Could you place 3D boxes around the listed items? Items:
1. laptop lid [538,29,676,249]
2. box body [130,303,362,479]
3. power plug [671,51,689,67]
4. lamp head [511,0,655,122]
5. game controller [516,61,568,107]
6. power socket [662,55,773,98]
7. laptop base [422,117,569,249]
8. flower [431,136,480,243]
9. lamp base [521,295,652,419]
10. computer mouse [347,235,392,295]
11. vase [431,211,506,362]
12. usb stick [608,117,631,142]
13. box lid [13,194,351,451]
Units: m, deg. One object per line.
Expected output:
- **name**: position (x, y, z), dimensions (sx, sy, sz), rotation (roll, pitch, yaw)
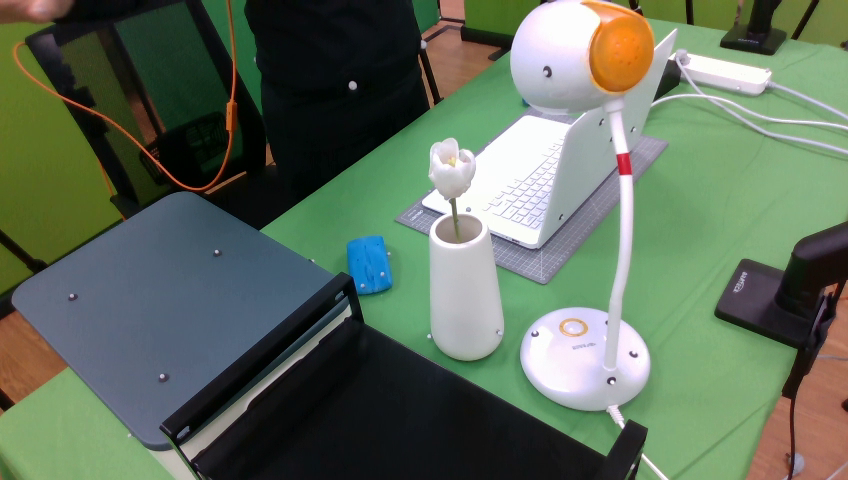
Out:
- **laptop lid**: position (0.288, -0.159, 0.939), dimensions (0.013, 0.242, 0.358), rotation (31, 51, 24)
- **box body**: position (-0.285, 0.123, 0.766), dimensions (0.361, 0.161, 0.255), rotation (25, 49, 33)
- **power plug**: position (0.541, -0.378, 1.301), dimensions (0.073, 0.053, 0.035), rotation (-33, 46, -24)
- **lamp head**: position (0.155, -0.168, 0.564), dimensions (0.113, 0.113, 0.122), rotation (-18, 23, -12)
- **game controller**: position (0.259, -0.352, 1.336), dimensions (0.097, 0.052, 0.154), rotation (-3, 41, 2)
- **power socket**: position (0.619, -0.352, 1.289), dimensions (0.225, 0.033, 0.072), rotation (26, 51, 33)
- **laptop base**: position (0.192, -0.116, 1.087), dimensions (0.233, 0.023, 0.355), rotation (21, 48, 34)
- **flower**: position (0.041, 0.011, 0.691), dimensions (0.044, 0.363, 0.038), rotation (16, 62, 14)
- **lamp base**: position (0.200, 0.095, 0.710), dimensions (0.161, 0.181, 0.177), rotation (-16, 43, -10)
- **computer mouse**: position (-0.086, 0.035, 0.936), dimensions (0.063, 0.041, 0.116), rotation (-8, 44, -5)
- **vase**: position (0.054, 0.062, 0.757), dimensions (0.098, 0.201, 0.097), rotation (-3, 40, 3)
- **usb stick**: position (0.370, -0.207, 1.147), dimensions (0.021, 0.027, 0.059), rotation (27, 55, 32)
- **box lid**: position (-0.292, 0.067, 0.717), dimensions (0.368, 0.015, 0.264), rotation (25, 50, 33)
